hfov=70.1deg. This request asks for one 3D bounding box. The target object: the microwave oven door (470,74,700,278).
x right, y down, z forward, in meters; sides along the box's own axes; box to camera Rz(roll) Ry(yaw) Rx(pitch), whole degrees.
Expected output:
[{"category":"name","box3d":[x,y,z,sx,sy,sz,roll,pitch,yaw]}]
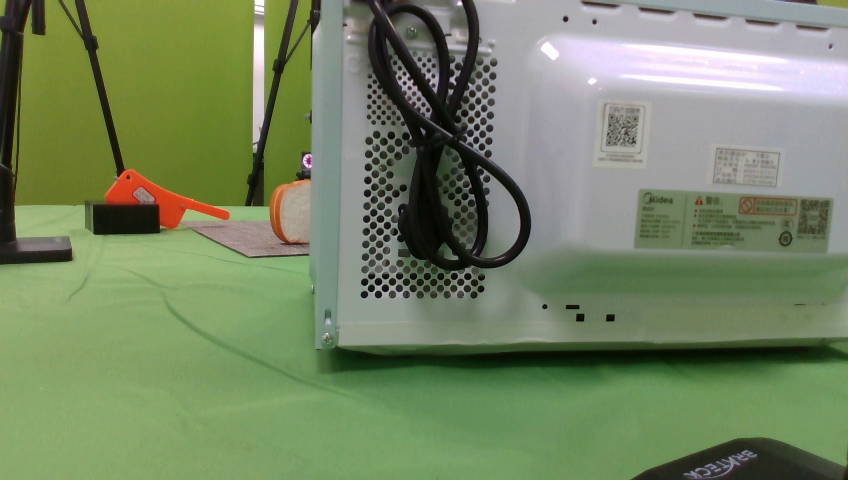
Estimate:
[{"category":"microwave oven door","box3d":[0.201,-0.096,0.850,0.039,0.243,0.354,-3,9,-37]}]

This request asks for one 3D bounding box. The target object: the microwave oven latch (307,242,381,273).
[{"category":"microwave oven latch","box3d":[-0.086,0.019,0.656,0.079,0.029,0.030,2,7,-10]}]

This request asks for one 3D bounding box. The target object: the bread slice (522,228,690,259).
[{"category":"bread slice","box3d":[0.175,0.003,0.566,0.134,0.018,0.107,-5,2,33]}]

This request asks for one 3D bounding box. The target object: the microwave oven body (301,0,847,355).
[{"category":"microwave oven body","box3d":[0.120,-0.053,0.535,0.443,0.260,0.325,2,7,-11]}]

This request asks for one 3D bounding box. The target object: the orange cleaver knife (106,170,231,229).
[{"category":"orange cleaver knife","box3d":[-0.458,-0.060,1.097,0.212,0.077,0.012,23,-4,-38]}]

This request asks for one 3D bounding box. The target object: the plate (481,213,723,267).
[{"category":"plate","box3d":[0.155,-0.003,0.546,0.208,0.039,0.207,1,4,0]}]
